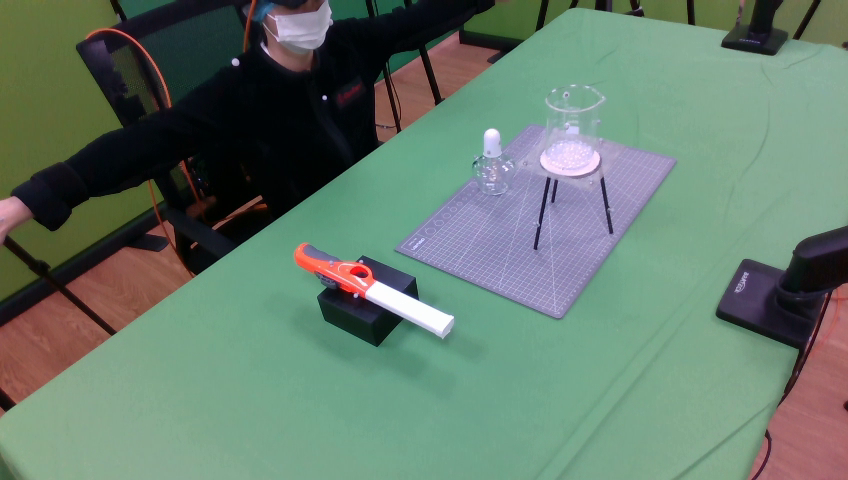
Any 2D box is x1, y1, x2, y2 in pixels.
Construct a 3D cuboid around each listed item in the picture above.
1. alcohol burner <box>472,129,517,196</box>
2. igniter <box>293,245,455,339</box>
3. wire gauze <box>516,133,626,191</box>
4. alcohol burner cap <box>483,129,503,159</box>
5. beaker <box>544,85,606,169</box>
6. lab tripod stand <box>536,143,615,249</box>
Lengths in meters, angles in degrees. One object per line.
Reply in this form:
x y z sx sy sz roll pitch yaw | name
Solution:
0.120 -0.136 1.044 0.078 0.119 0.077 -6 39 6 | alcohol burner
-0.079 0.066 0.833 0.274 0.025 0.057 23 48 27 | igniter
0.217 -0.122 0.893 0.124 0.011 0.122 20 47 32 | wire gauze
0.115 -0.163 1.021 0.034 0.048 0.033 -5 35 4 | alcohol burner cap
0.212 -0.158 0.861 0.084 0.101 0.073 -3 41 6 | beaker
0.224 -0.069 0.931 0.148 0.132 0.147 -4 42 4 | lab tripod stand
